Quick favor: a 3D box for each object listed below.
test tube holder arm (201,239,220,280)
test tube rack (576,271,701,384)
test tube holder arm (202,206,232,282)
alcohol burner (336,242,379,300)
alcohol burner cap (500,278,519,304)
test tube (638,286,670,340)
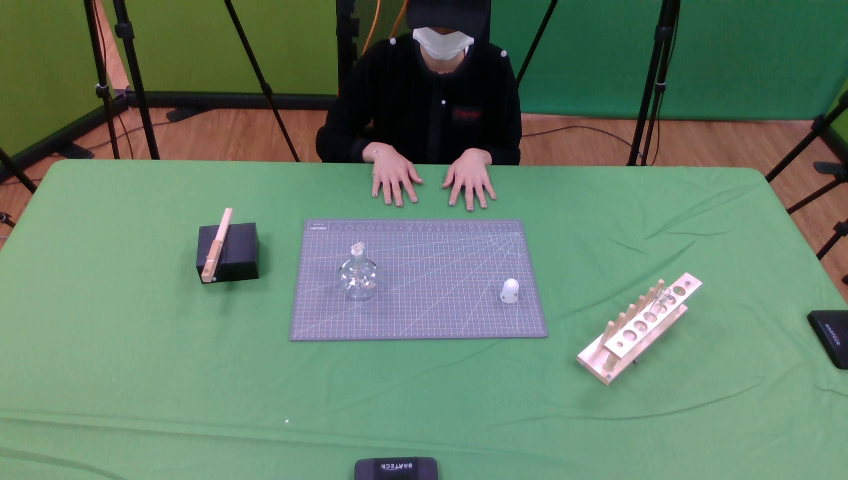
[{"bbox_3d":[-0.374,0.033,1.064,0.015,0.010,0.087,1,47,-1],"label":"test tube holder arm"},{"bbox_3d":[0.373,0.138,1.047,0.242,0.085,0.066,-31,56,-29],"label":"test tube rack"},{"bbox_3d":[-0.373,0.004,1.099,0.015,0.013,0.177,1,47,-1],"label":"test tube holder arm"},{"bbox_3d":[-0.118,0.050,1.072,0.078,0.120,0.077,2,44,-1],"label":"alcohol burner"},{"bbox_3d":[0.157,0.090,1.104,0.034,0.048,0.033,2,46,-2],"label":"alcohol burner cap"},{"bbox_3d":[0.373,0.123,0.994,0.017,0.151,0.017,0,51,0],"label":"test tube"}]
